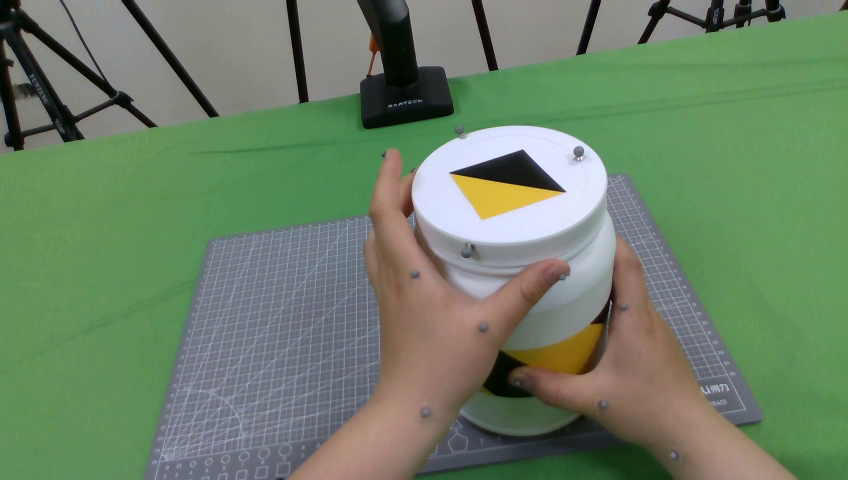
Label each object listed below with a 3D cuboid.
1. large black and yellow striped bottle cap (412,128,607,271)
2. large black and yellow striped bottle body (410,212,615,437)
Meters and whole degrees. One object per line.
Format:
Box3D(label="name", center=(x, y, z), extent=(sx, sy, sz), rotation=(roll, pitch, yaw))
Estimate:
Box3D(label="large black and yellow striped bottle cap", center=(0.050, -0.029, 0.360), extent=(0.115, 0.019, 0.114), rotation=(-6, 43, 6))
Box3D(label="large black and yellow striped bottle body", center=(0.061, 0.034, 0.417), extent=(0.130, 0.186, 0.129), rotation=(-6, 42, 6))
